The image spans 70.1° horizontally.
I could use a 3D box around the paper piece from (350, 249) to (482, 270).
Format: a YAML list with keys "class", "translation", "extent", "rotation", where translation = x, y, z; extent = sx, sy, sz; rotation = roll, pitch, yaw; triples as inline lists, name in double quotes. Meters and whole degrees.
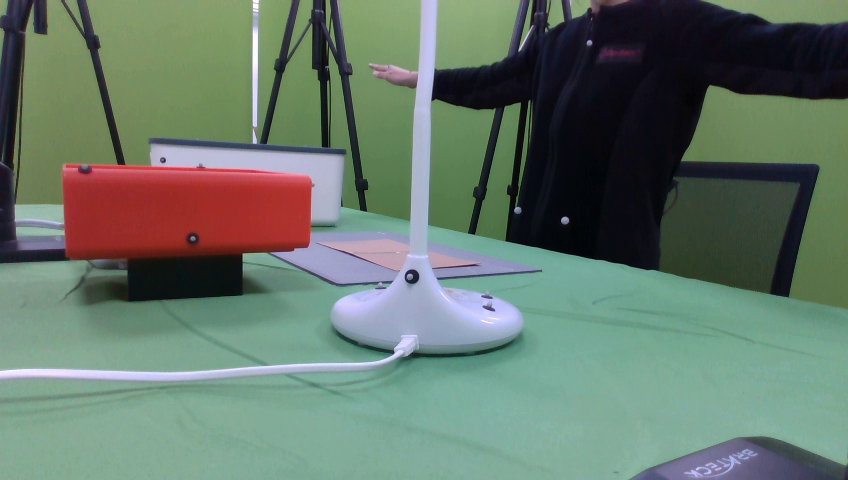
- class: "paper piece"
  translation: [-0.013, 0.026, 0.842]
  extent: [0.139, 0.008, 0.135]
  rotation: [0, 11, -32]

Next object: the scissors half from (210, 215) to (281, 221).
- class: "scissors half"
  translation: [-0.364, -0.044, 1.215]
  extent: [0.174, 0.013, 0.040]
  rotation: [1, 4, 26]

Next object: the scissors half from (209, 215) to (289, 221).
- class: "scissors half"
  translation: [-0.358, -0.045, 1.235]
  extent: [0.175, 0.013, 0.040]
  rotation: [1, -1, 8]

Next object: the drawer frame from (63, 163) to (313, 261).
- class: "drawer frame"
  translation: [-0.248, -0.036, 0.626]
  extent: [0.215, 0.082, 0.200]
  rotation: [-3, 9, -31]

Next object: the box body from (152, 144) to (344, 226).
- class: "box body"
  translation: [-0.370, -0.119, 1.264]
  extent: [0.366, 0.160, 0.253]
  rotation: [-1, 8, -24]

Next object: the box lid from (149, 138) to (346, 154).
- class: "box lid"
  translation: [-0.365, -0.191, 1.255]
  extent: [0.373, 0.015, 0.262]
  rotation: [-1, 8, -24]

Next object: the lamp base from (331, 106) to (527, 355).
- class: "lamp base"
  translation: [0.006, -0.012, 0.478]
  extent: [0.161, 0.180, 0.179]
  rotation: [2, 10, 2]

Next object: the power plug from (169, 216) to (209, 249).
- class: "power plug"
  translation: [-0.343, -0.007, 0.889]
  extent: [0.035, 0.052, 0.072]
  rotation: [-8, -7, -41]

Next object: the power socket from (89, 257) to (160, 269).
- class: "power socket"
  translation: [-0.409, 0.004, 0.793]
  extent: [0.072, 0.032, 0.225]
  rotation: [-2, 8, -38]

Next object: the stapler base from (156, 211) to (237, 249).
- class: "stapler base"
  translation: [-0.227, -0.017, 0.624]
  extent: [0.041, 0.024, 0.130]
  rotation: [19, 9, -2]

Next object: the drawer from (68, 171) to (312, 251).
- class: "drawer"
  translation: [-0.246, -0.036, 0.629]
  extent: [0.213, 0.073, 0.193]
  rotation: [-3, 9, -30]

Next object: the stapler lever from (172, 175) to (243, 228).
- class: "stapler lever"
  translation: [-0.217, -0.042, 0.618]
  extent: [0.027, 0.040, 0.118]
  rotation: [19, 11, -2]

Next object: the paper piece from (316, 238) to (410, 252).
- class: "paper piece"
  translation: [-0.083, 0.008, 0.952]
  extent: [0.136, 0.004, 0.134]
  rotation: [-2, 8, -32]
